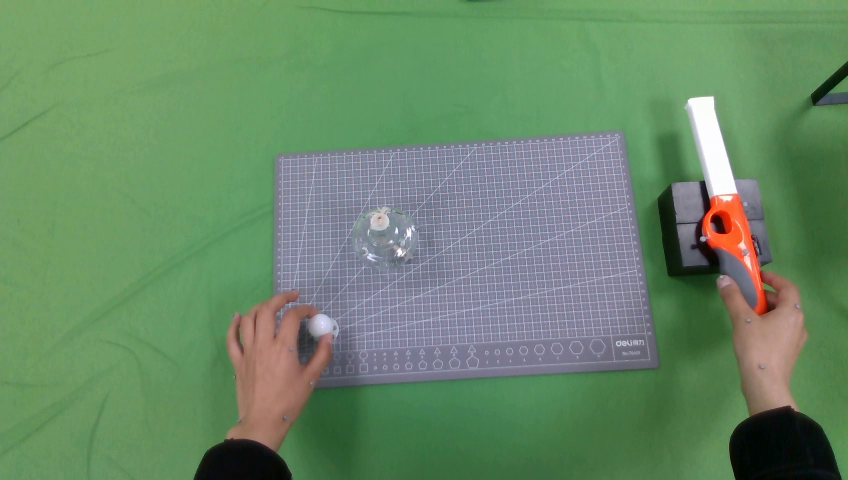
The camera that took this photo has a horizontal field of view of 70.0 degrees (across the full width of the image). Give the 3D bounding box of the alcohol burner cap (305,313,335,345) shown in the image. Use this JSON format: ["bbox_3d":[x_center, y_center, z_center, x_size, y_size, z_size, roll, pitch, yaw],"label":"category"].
[{"bbox_3d":[-0.122,0.102,0.703,0.034,0.048,0.033,0,71,-1],"label":"alcohol burner cap"}]

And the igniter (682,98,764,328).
[{"bbox_3d":[0.338,-0.037,0.688,0.057,0.025,0.274,-5,71,1],"label":"igniter"}]

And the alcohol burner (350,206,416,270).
[{"bbox_3d":[-0.048,-0.007,0.693,0.078,0.120,0.077,0,74,1],"label":"alcohol burner"}]
